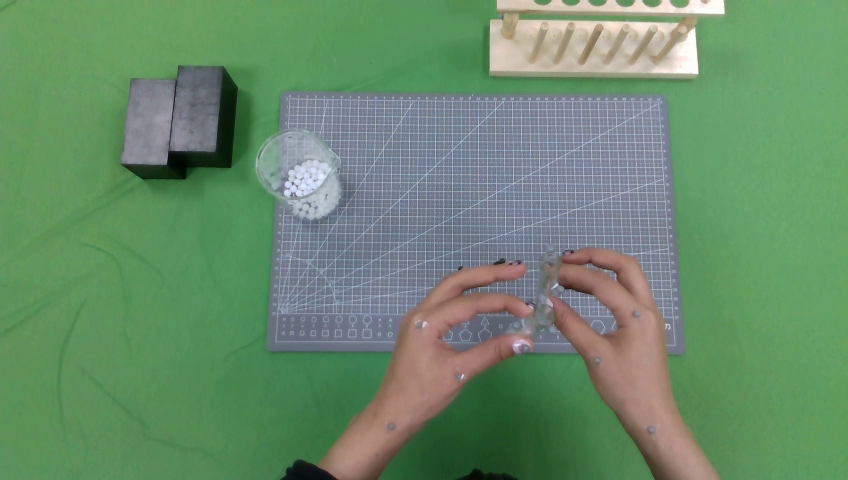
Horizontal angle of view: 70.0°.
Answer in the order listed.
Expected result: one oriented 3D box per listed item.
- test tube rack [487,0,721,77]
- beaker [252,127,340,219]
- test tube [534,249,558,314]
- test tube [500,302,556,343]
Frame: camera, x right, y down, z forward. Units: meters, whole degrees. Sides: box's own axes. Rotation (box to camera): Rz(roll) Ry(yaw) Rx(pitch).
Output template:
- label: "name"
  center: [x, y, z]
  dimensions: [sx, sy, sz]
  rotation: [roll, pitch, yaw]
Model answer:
- label: "test tube rack"
  center: [0.195, -0.236, 0.684]
  dimensions: [0.242, 0.085, 0.066]
  rotation: [1, 78, 0]
- label: "beaker"
  center: [-0.127, -0.066, 0.640]
  dimensions: [0.084, 0.100, 0.073]
  rotation: [-7, 79, -2]
- label: "test tube"
  center: [0.098, 0.037, 0.489]
  dimensions: [0.017, 0.151, 0.017]
  rotation: [-3, 70, 9]
- label: "test tube"
  center: [0.076, 0.065, 0.463]
  dimensions: [0.017, 0.151, 0.017]
  rotation: [0, 76, -1]
